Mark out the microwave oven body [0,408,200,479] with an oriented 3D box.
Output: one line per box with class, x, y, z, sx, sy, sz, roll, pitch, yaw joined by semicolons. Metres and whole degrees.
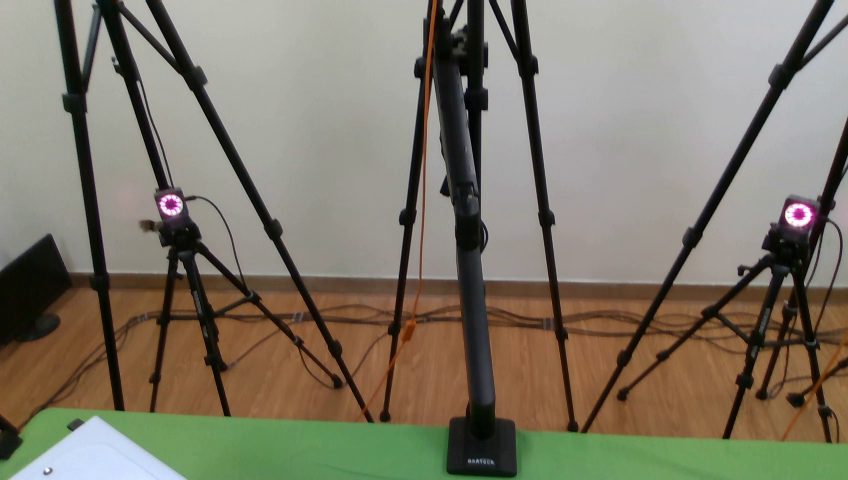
microwave oven body;-0.456;0.475;0.702;0.323;0.262;0.441;19;40;28
